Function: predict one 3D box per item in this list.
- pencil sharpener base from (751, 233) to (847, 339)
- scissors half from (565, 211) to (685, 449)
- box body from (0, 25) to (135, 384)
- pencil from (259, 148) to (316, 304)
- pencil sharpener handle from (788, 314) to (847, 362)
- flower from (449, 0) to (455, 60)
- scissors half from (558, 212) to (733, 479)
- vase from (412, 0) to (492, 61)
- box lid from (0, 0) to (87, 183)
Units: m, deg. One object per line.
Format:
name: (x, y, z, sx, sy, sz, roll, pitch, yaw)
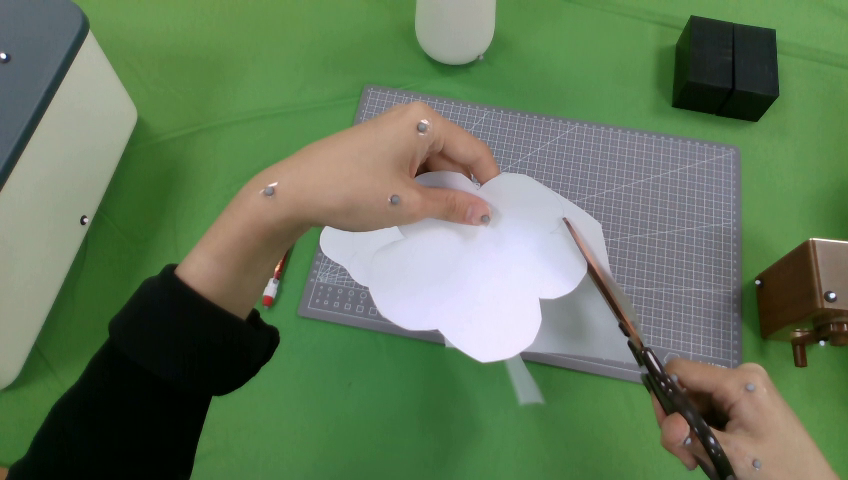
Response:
pencil sharpener base: (0.372, 0.050, 0.584, 0.061, 0.108, 0.076, 6, 67, 2)
scissors half: (0.121, 0.056, 0.358, 0.013, 0.039, 0.176, -30, 111, 4)
box body: (-0.479, -0.057, 0.587, 0.254, 0.161, 0.361, 10, 67, 4)
pencil: (-0.145, -0.022, 0.661, 0.012, 0.012, 0.193, 11, 66, 5)
pencil sharpener handle: (0.363, 0.091, 0.553, 0.036, 0.068, 0.030, 12, 66, -11)
flower: (0.029, -0.343, 0.608, 0.044, 0.365, 0.038, 4, 49, 5)
scissors half: (0.121, 0.059, 0.337, 0.013, 0.040, 0.174, -31, 84, -1)
vase: (0.033, -0.297, 0.678, 0.098, 0.201, 0.097, 0, 65, 1)
box lid: (-0.479, -0.089, 0.519, 0.263, 0.015, 0.369, 11, 67, 3)
